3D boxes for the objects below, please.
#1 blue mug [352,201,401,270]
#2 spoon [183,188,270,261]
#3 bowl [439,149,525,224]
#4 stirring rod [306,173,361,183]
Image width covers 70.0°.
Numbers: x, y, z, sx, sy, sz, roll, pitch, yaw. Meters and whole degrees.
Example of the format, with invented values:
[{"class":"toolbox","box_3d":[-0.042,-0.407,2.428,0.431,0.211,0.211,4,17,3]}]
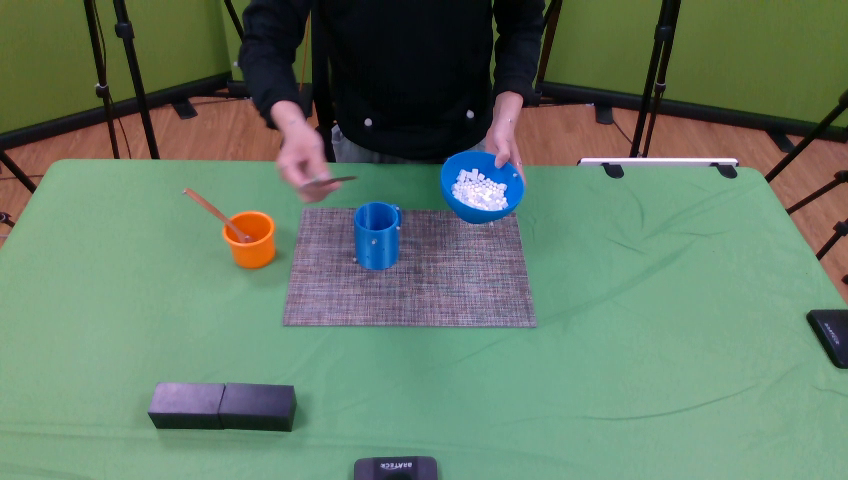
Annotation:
[{"class":"blue mug","box_3d":[-0.082,-0.017,1.144,0.082,0.106,0.116,30,51,22]},{"class":"spoon","box_3d":[-0.360,-0.029,1.110,0.021,0.194,0.041,-21,31,41]},{"class":"bowl","box_3d":[0.095,-0.082,1.077,0.151,0.077,0.150,6,50,-7]},{"class":"stirring rod","box_3d":[-0.130,-0.093,0.898,0.014,0.006,0.176,1,9,15]}]
